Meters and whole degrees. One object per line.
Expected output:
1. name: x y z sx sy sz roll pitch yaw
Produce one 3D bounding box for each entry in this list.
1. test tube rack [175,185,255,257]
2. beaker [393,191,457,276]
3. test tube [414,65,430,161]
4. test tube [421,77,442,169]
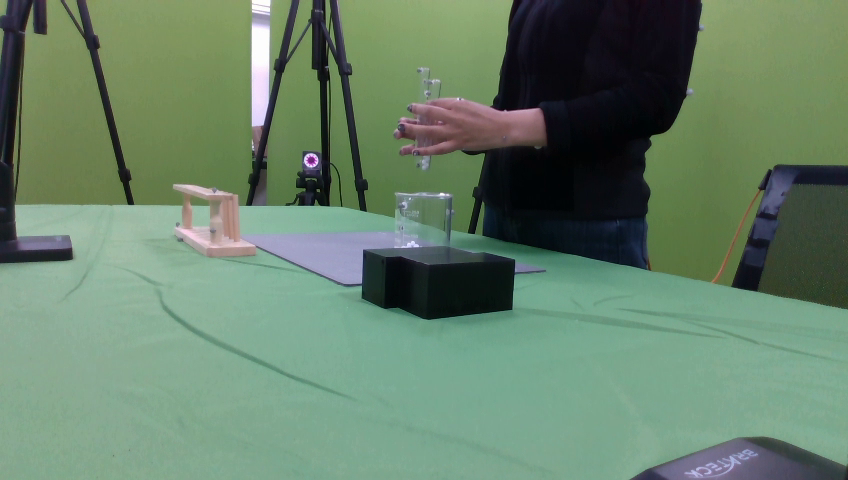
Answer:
1. test tube rack: -0.324 -0.035 0.922 0.067 0.085 0.241 -2 9 -31
2. beaker: -0.003 -0.010 0.749 0.074 0.100 0.083 -3 8 -40
3. test tube: -0.004 -0.201 0.964 0.017 0.150 0.017 4 13 -1
4. test tube: 0.012 -0.191 0.992 0.017 0.150 0.017 8 9 -1
